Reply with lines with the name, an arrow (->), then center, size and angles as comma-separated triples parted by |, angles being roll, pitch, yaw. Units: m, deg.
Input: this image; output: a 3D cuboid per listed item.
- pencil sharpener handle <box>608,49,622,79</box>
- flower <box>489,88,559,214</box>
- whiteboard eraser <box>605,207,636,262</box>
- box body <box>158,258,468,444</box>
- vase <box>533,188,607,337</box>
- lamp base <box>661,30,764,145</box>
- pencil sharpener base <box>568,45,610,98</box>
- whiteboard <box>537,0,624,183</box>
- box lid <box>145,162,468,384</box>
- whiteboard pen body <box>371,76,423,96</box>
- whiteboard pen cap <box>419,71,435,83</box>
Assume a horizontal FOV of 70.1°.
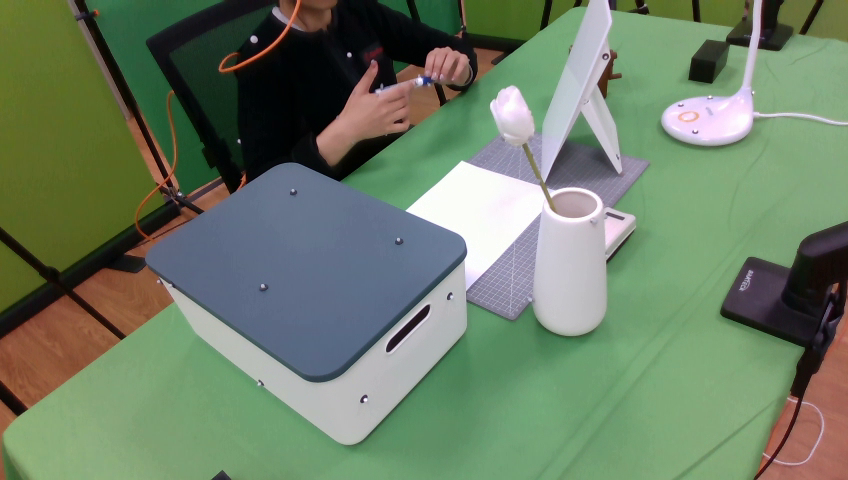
pencil sharpener handle -> 0.394, -0.368, 1.253 | 0.030, 0.068, 0.036 | -8, 32, 1
flower -> 0.158, -0.027, 0.720 | 0.038, 0.364, 0.044 | -14, 44, 23
whiteboard eraser -> 0.272, -0.003, 0.919 | 0.055, 0.042, 0.113 | 27, 51, 32
box body -> -0.147, 0.072, 0.816 | 0.361, 0.161, 0.255 | 24, 50, 33
vase -> 0.187, 0.033, 0.771 | 0.098, 0.201, 0.097 | -6, 41, 6
lamp base -> 0.535, -0.287, 1.096 | 0.179, 0.181, 0.159 | -10, 40, -4
pencil sharpener base -> 0.345, -0.352, 1.263 | 0.077, 0.107, 0.061 | -8, 40, 1
whiteboard -> 0.316, -0.256, 1.047 | 0.144, 0.306, 0.216 | 15, 42, -1
box lid -> -0.157, 0.014, 0.769 | 0.368, 0.015, 0.264 | 25, 51, 33
whiteboard pen body -> -0.042, -0.299, 1.159 | 0.141, 0.017, 0.017 | -24, 42, -32
whiteboard pen cap -> 0.005, -0.320, 1.188 | 0.033, 0.018, 0.018 | -26, 43, -28
